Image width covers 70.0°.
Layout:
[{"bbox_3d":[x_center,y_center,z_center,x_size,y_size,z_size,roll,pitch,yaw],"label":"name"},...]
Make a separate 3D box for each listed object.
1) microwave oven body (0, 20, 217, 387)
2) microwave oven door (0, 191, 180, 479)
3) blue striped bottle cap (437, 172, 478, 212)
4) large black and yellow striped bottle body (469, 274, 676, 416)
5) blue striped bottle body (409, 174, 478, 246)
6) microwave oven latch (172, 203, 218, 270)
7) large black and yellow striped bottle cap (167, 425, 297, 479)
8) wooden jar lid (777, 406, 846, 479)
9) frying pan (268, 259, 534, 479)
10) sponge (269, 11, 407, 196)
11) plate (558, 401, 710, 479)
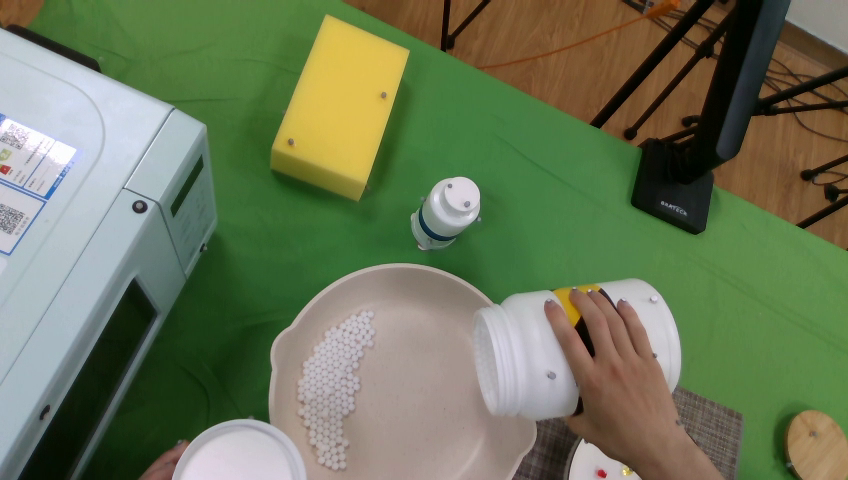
[{"bbox_3d":[-0.425,0.055,0.496,0.327,0.260,0.439,25,68,-9],"label":"microwave oven body"},{"bbox_3d":[-0.308,0.149,0.495,0.039,0.244,0.354,24,67,-9],"label":"microwave oven door"},{"bbox_3d":[0.039,-0.055,0.695,0.045,0.020,0.044,5,74,-15],"label":"blue striped bottle cap"},{"bbox_3d":[0.148,0.110,0.632,0.184,0.131,0.130,-7,75,-8],"label":"large black and yellow striped bottle body"},{"bbox_3d":[0.025,-0.039,0.742,0.063,0.121,0.062,5,72,-15],"label":"blue striped bottle body"},{"bbox_3d":[-0.257,-0.009,0.671,0.030,0.029,0.079,27,68,-8],"label":"microwave oven latch"},{"bbox_3d":[-0.166,0.201,0.519,0.115,0.114,0.019,-23,108,-22],"label":"large black and yellow striped bottle cap"},{"bbox_3d":[0.543,0.289,0.853,0.109,0.021,0.108,5,73,-15],"label":"wooden jar lid"},{"bbox_3d":[-0.056,0.254,0.632,0.307,0.103,0.484,23,60,-7],"label":"frying pan"},{"bbox_3d":[-0.108,-0.174,0.775,0.118,0.061,0.205,19,69,-10],"label":"sponge"},{"bbox_3d":[0.256,0.307,0.746,0.210,0.038,0.208,5,72,-15],"label":"plate"}]
